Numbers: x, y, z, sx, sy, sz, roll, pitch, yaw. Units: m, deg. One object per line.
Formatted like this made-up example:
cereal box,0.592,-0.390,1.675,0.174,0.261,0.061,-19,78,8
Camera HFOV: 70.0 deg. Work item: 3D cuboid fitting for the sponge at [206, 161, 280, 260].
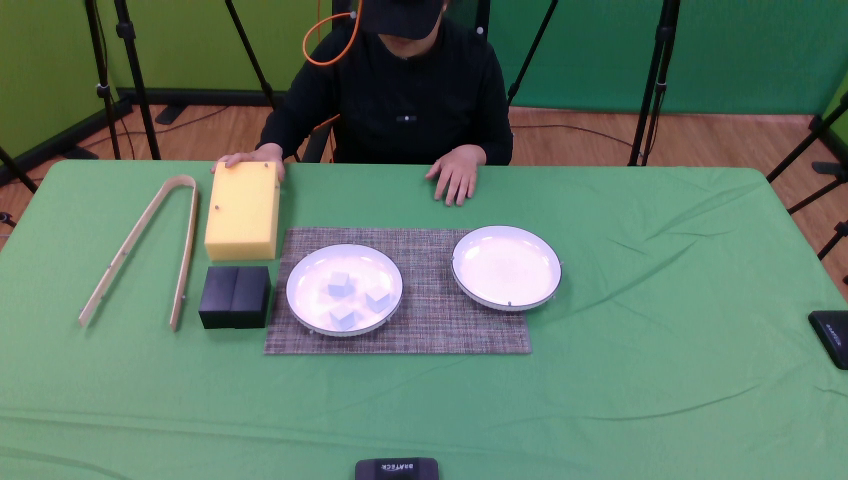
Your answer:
sponge,-0.349,-0.061,1.186,0.118,0.061,0.205,-3,53,-6

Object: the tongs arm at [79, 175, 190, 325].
tongs arm,-0.534,0.005,1.145,0.051,0.026,0.382,6,45,0

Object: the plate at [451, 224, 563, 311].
plate,0.154,0.053,1.140,0.209,0.038,0.208,2,46,-2

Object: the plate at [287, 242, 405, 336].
plate,-0.138,0.090,1.085,0.208,0.039,0.206,2,46,-2

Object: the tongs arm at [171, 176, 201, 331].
tongs arm,-0.453,0.010,1.151,0.028,0.028,0.385,-6,47,-6
